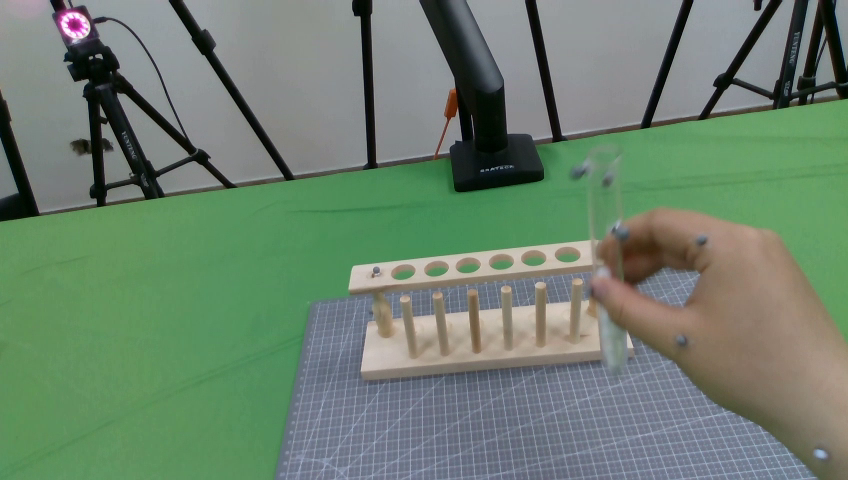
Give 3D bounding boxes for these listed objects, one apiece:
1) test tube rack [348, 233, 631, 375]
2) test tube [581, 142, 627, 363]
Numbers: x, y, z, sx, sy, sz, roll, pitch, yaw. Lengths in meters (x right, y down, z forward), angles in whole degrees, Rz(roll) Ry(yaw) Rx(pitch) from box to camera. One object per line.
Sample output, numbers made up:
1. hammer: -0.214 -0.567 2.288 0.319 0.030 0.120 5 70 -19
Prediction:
1. test tube rack: 0.058 0.059 0.546 0.242 0.086 0.066 -6 37 6
2. test tube: 0.095 0.015 0.313 0.017 0.152 0.017 -11 41 9
